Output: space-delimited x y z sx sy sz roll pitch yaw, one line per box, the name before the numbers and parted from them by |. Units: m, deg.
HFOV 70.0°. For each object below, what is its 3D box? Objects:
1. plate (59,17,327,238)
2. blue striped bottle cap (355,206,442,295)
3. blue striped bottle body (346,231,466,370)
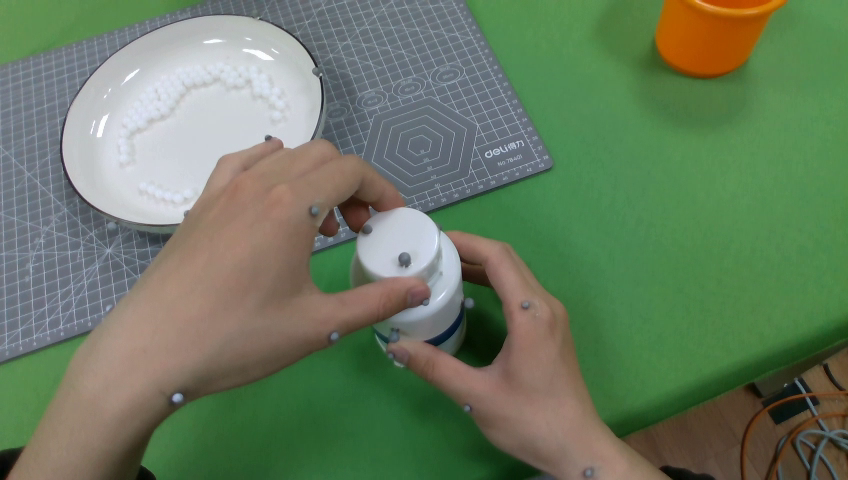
plate | -0.177 -0.090 0.484 0.207 0.039 0.206 -2 63 4
blue striped bottle cap | -0.013 0.004 0.313 0.044 0.021 0.044 -2 61 4
blue striped bottle body | -0.009 0.032 0.362 0.063 0.122 0.062 -3 62 5
